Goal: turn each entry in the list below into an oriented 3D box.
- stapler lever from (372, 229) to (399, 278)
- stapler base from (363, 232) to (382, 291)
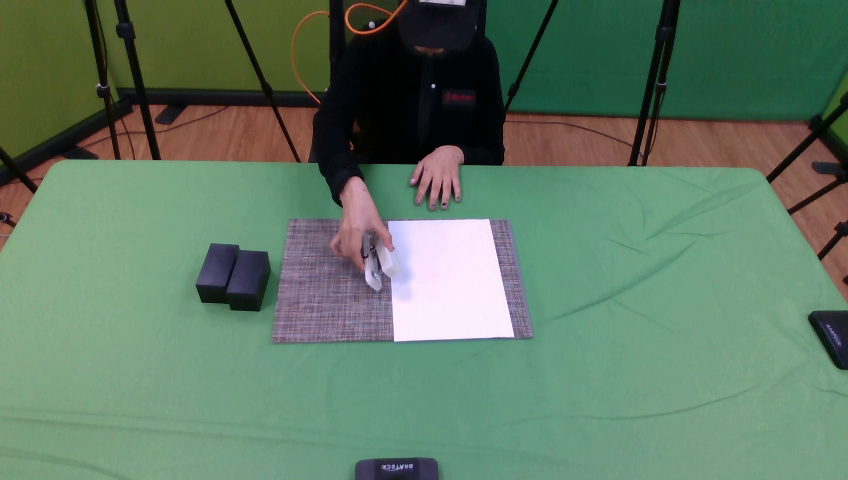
[{"bbox_3d":[-0.072,0.023,1.125,0.040,0.027,0.117,-28,42,17],"label":"stapler lever"},{"bbox_3d":[-0.092,0.036,1.132,0.024,0.041,0.129,-29,42,17],"label":"stapler base"}]
